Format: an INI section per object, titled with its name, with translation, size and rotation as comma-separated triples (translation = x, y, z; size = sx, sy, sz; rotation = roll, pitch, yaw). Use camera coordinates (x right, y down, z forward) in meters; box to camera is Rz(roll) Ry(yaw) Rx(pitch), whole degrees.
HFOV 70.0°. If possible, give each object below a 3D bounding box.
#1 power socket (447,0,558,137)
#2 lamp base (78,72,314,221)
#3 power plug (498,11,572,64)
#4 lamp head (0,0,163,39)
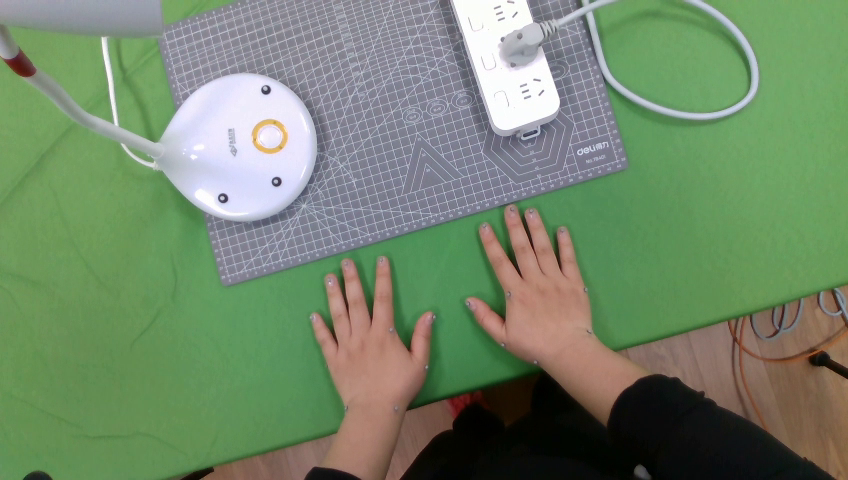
[power socket]
translation = 0.073, -0.217, 0.624
size = 0.072, 0.032, 0.226
rotation = -19, 86, 4
[lamp base]
translation = -0.216, -0.099, 0.575
size = 0.179, 0.180, 0.160
rotation = -20, 86, 8
[power plug]
translation = 0.110, -0.196, 0.601
size = 0.072, 0.053, 0.035
rotation = -8, 88, 3
[lamp head]
translation = -0.191, -0.145, 0.278
size = 0.123, 0.112, 0.112
rotation = -13, 86, -17
